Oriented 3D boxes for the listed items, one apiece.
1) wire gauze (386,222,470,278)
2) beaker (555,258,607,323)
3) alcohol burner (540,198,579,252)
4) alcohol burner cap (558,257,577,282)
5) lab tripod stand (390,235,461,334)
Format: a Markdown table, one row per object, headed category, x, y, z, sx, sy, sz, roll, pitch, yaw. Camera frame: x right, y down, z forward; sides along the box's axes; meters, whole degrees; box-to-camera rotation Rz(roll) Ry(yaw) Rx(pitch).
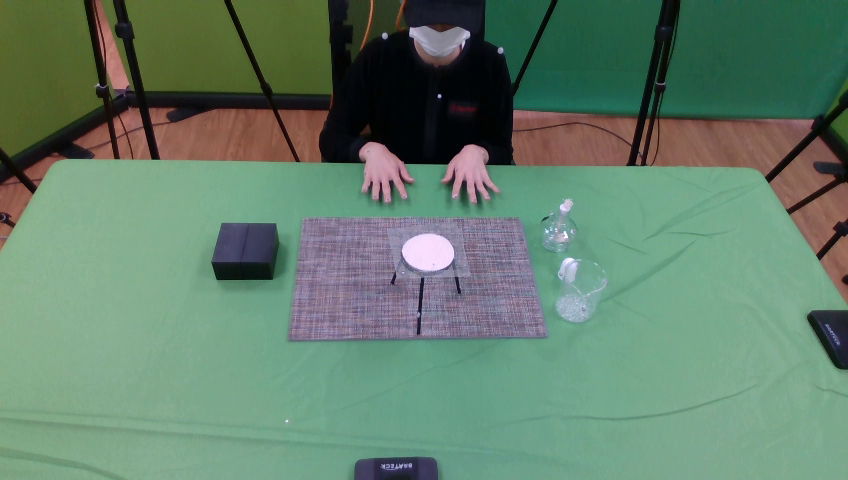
| category | x | y | z | sx | sy | sz | roll | pitch | yaw |
| --- | --- | --- | --- | --- | --- | --- | --- | --- | --- |
| wire gauze | 0.004 | 0.016 | 1.005 | 0.125 | 0.011 | 0.120 | -5 | 46 | -8 |
| beaker | 0.275 | 0.094 | 1.073 | 0.074 | 0.101 | 0.083 | 10 | 47 | 6 |
| alcohol burner | 0.267 | -0.035 | 1.187 | 0.078 | 0.120 | 0.077 | 1 | 45 | -1 |
| alcohol burner cap | 0.276 | 0.053 | 1.154 | 0.034 | 0.048 | 0.033 | 2 | 46 | -2 |
| lab tripod stand | -0.001 | 0.067 | 1.050 | 0.148 | 0.132 | 0.147 | 1 | 47 | -1 |
